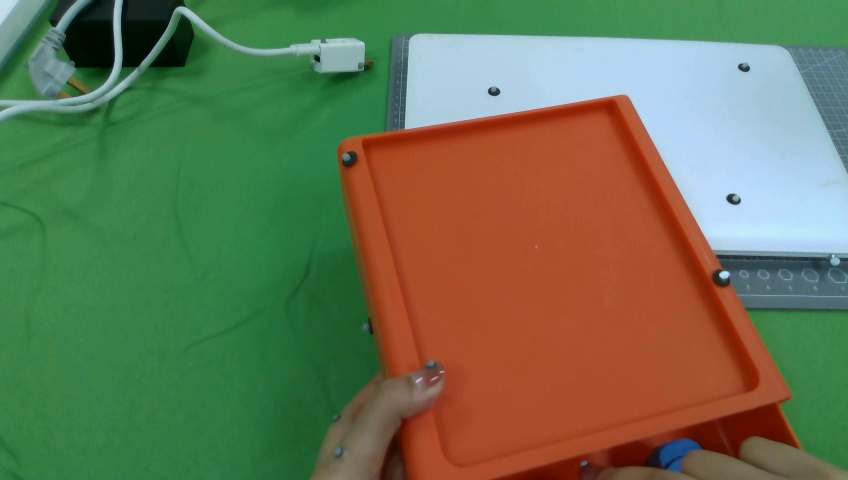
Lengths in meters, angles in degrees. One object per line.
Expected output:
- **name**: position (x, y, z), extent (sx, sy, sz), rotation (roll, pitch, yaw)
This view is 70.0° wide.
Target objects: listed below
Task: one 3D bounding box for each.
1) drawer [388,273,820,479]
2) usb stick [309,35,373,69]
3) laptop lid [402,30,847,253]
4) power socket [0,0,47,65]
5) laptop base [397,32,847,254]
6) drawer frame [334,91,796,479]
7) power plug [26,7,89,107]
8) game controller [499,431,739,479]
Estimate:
- **drawer**: position (0.091, 0.112, 0.320), extent (0.195, 0.074, 0.209), rotation (-10, 61, -10)
- **usb stick**: position (-0.073, -0.170, 0.547), extent (0.059, 0.027, 0.021), rotation (-13, 32, -37)
- **laptop lid**: position (0.158, -0.092, 0.496), extent (0.357, 0.013, 0.239), rotation (3, 57, 0)
- **power socket**: position (-0.412, -0.222, 0.574), extent (0.072, 0.033, 0.224), rotation (5, 55, 0)
- **laptop base**: position (0.158, -0.087, 0.508), extent (0.354, 0.023, 0.233), rotation (1, 58, -1)
- **drawer frame**: position (0.065, 0.027, 0.365), extent (0.202, 0.083, 0.211), rotation (-12, 61, -10)
- **power plug**: position (-0.298, -0.151, 0.509), extent (0.072, 0.053, 0.035), rotation (-51, 36, 0)
- **game controller**: position (0.100, 0.158, 0.308), extent (0.155, 0.052, 0.096), rotation (-10, 61, -12)
